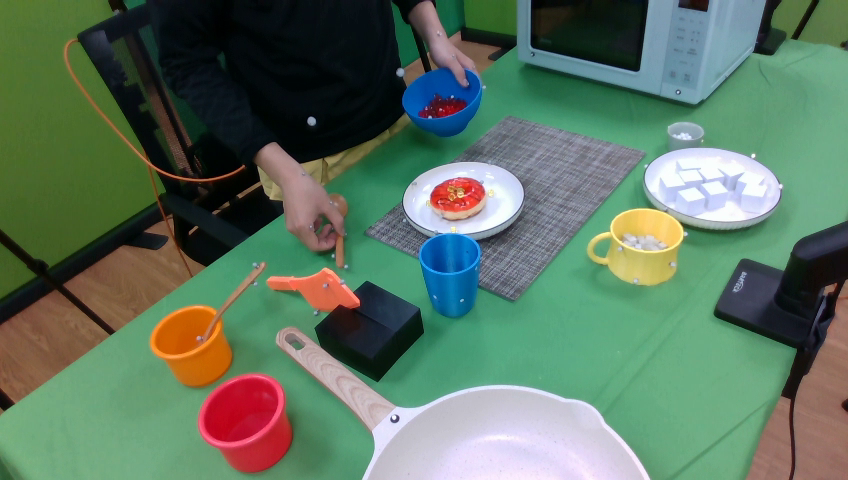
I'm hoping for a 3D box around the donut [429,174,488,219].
[{"bbox_3d":[0.058,-0.075,1.015,0.099,0.048,0.098,-6,38,5],"label":"donut"}]

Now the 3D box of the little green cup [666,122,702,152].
[{"bbox_3d":[0.471,-0.184,1.102,0.061,0.039,0.061,-5,41,5],"label":"little green cup"}]

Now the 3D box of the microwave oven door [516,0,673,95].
[{"bbox_3d":[0.344,-0.458,1.256,0.353,0.245,0.039,26,51,33],"label":"microwave oven door"}]

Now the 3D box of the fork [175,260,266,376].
[{"bbox_3d":[-0.268,0.103,0.792,0.207,0.019,0.028,-51,41,16],"label":"fork"}]

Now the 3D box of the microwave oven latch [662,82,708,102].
[{"bbox_3d":[0.517,-0.298,1.202,0.078,0.029,0.030,27,52,34],"label":"microwave oven latch"}]

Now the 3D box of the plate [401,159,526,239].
[{"bbox_3d":[0.067,-0.065,1.019,0.209,0.038,0.208,-4,40,4],"label":"plate"}]

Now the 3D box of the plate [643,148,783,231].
[{"bbox_3d":[0.464,-0.080,0.986,0.207,0.039,0.206,-4,41,4],"label":"plate"}]

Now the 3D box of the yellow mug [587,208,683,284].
[{"bbox_3d":[0.305,0.009,0.884,0.131,0.064,0.099,-4,41,5],"label":"yellow mug"}]

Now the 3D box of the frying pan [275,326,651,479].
[{"bbox_3d":[0.003,0.229,0.641,0.484,0.103,0.308,34,54,28],"label":"frying pan"}]

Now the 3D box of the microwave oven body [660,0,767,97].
[{"bbox_3d":[0.473,-0.516,1.313,0.438,0.261,0.327,26,51,34],"label":"microwave oven body"}]

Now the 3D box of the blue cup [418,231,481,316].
[{"bbox_3d":[0.040,0.053,0.843,0.092,0.100,0.092,-4,43,4],"label":"blue cup"}]

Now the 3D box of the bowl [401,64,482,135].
[{"bbox_3d":[0.039,-0.250,1.129,0.151,0.077,0.150,-8,50,10],"label":"bowl"}]

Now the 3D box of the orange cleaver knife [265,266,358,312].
[{"bbox_3d":[-0.165,0.073,0.864,0.210,0.077,0.012,-6,31,50],"label":"orange cleaver knife"}]

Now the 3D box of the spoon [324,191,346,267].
[{"bbox_3d":[-0.145,-0.022,1.004,0.042,0.021,0.192,21,30,-24],"label":"spoon"}]
